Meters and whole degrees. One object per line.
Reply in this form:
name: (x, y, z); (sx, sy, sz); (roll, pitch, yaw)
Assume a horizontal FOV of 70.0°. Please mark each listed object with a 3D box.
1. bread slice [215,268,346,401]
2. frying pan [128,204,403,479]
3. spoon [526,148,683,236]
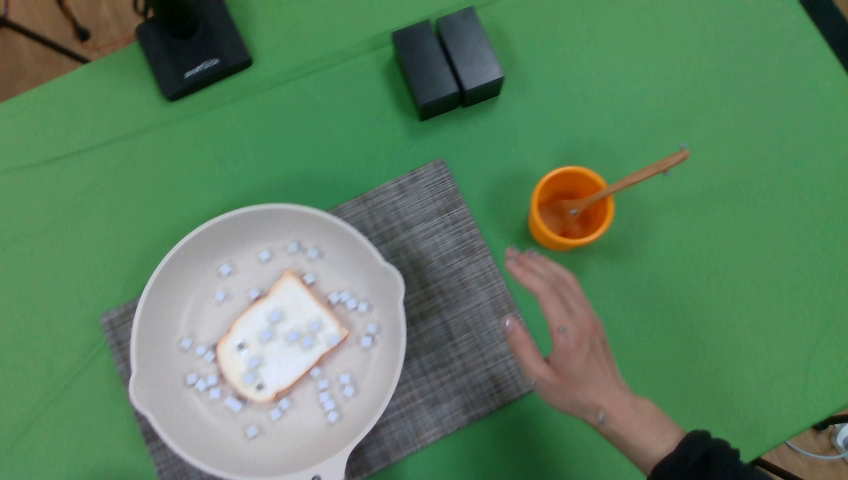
bread slice: (-0.170, 0.116, 0.698); (0.106, 0.018, 0.134); (42, 79, 7)
frying pan: (-0.127, 0.197, 0.642); (0.307, 0.103, 0.484); (-23, 71, -4)
spoon: (0.196, -0.053, 0.676); (0.022, 0.193, 0.041); (-9, 75, -48)
